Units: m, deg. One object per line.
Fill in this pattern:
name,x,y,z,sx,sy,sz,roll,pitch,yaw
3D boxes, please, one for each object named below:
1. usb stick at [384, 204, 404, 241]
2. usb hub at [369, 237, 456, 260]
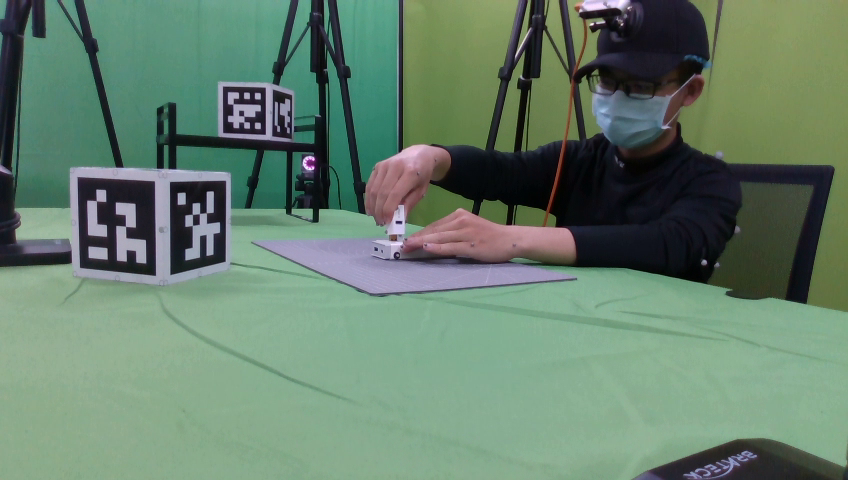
usb stick,-0.044,-0.022,0.894,0.021,0.059,0.027,2,-1,-36
usb hub,-0.016,0.012,0.909,0.126,0.025,0.049,-3,9,-33
